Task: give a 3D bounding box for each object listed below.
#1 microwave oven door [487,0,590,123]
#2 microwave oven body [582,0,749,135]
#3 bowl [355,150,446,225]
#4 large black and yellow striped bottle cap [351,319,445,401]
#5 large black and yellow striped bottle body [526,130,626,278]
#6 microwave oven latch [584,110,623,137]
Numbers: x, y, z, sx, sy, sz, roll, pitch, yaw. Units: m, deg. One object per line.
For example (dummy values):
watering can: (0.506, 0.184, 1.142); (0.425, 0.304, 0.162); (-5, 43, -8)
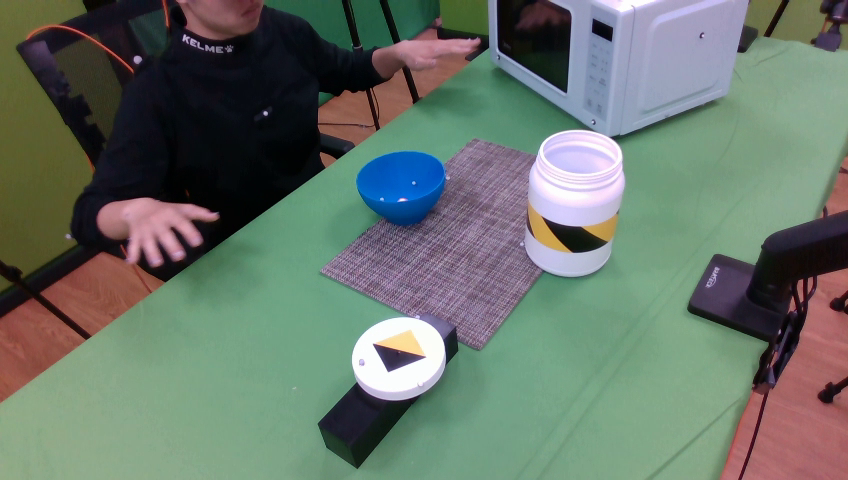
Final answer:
microwave oven door: (0.231, -0.420, 1.230); (0.039, 0.245, 0.352); (-22, 43, -16)
microwave oven body: (0.382, -0.444, 1.246); (0.327, 0.261, 0.437); (-22, 42, -16)
bowl: (-0.035, -0.078, 1.017); (0.151, 0.077, 0.150); (-4, 40, 4)
large black and yellow striped bottle cap: (-0.031, 0.143, 0.735); (0.115, 0.019, 0.114); (-3, 40, 3)
large black and yellow striped bottle body: (0.216, -0.051, 0.870); (0.131, 0.185, 0.130); (-2, 43, 2)
microwave oven latch: (0.337, -0.222, 1.142); (0.030, 0.029, 0.078); (-21, 42, -14)
